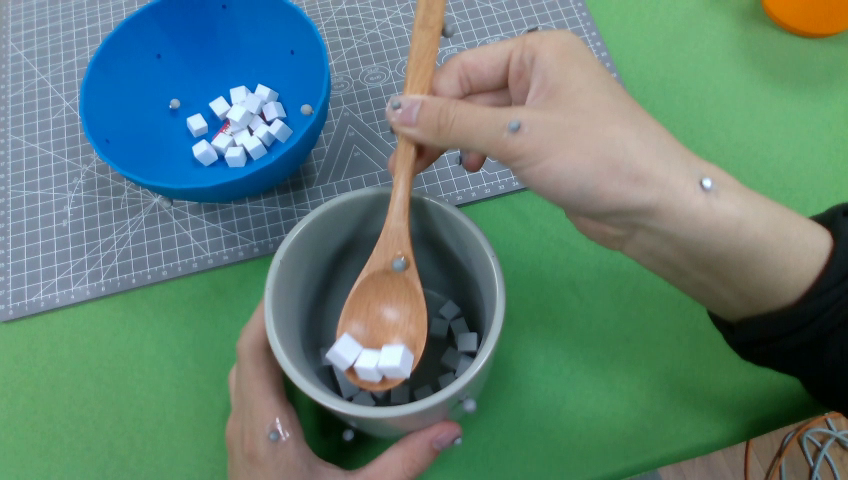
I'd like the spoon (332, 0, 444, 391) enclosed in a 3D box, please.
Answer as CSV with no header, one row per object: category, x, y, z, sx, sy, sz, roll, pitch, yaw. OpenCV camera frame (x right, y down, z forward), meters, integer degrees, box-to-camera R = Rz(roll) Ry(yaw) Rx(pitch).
spoon,-0.009,-0.030,0.268,0.041,0.022,0.193,9,92,11

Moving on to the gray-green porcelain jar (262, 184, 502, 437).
gray-green porcelain jar,-0.016,0.046,0.318,0.106,0.127,0.105,-1,67,2

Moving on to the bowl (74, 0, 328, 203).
bowl,-0.132,-0.082,0.396,0.151,0.077,0.150,-1,68,2
